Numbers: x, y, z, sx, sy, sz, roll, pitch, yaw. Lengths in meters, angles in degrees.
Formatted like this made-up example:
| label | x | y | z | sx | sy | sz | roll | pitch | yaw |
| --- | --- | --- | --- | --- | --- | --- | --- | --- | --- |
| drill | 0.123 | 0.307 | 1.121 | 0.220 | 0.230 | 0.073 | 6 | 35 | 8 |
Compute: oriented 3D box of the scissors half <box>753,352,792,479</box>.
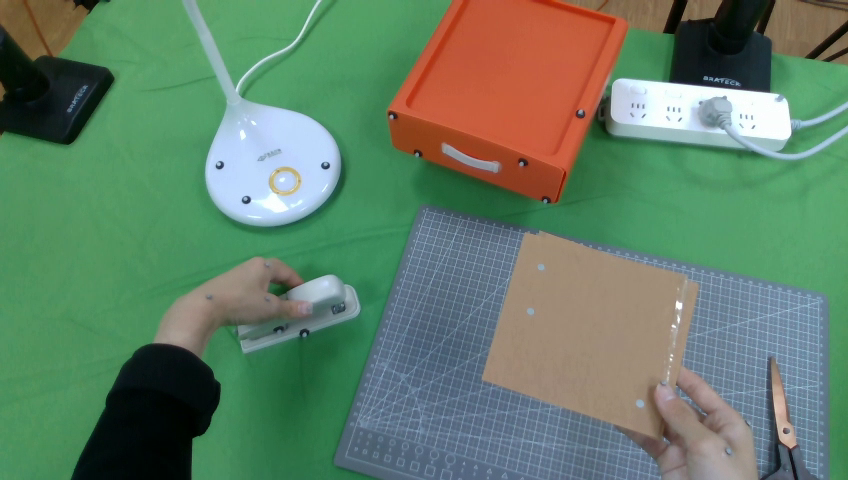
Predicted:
| label | x | y | z | sx | sy | sz | roll | pitch | yaw |
| --- | --- | --- | --- | --- | --- | --- | --- | --- | --- |
| scissors half | 0.328 | 0.187 | 0.572 | 0.040 | 0.013 | 0.174 | 16 | 61 | 0 |

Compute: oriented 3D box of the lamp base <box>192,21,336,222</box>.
| label | x | y | z | sx | sy | sz | roll | pitch | yaw |
| --- | --- | --- | --- | --- | --- | --- | --- | --- | --- |
| lamp base | -0.197 | -0.135 | 0.661 | 0.160 | 0.182 | 0.177 | -38 | 65 | -16 |

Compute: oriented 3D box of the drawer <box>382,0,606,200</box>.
| label | x | y | z | sx | sy | sz | roll | pitch | yaw |
| --- | --- | --- | --- | --- | --- | --- | --- | --- | --- |
| drawer | 0.086 | -0.171 | 0.676 | 0.194 | 0.074 | 0.211 | 21 | 65 | 13 |

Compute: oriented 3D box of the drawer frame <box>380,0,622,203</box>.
| label | x | y | z | sx | sy | sz | roll | pitch | yaw |
| --- | --- | --- | --- | --- | --- | --- | --- | --- | --- |
| drawer frame | 0.088 | -0.176 | 0.681 | 0.201 | 0.083 | 0.212 | 21 | 67 | 12 |

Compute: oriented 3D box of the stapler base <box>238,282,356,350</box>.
| label | x | y | z | sx | sy | sz | roll | pitch | yaw |
| --- | --- | --- | --- | --- | --- | --- | --- | --- | --- |
| stapler base | -0.138 | 0.076 | 0.643 | 0.130 | 0.024 | 0.041 | -18 | 62 | -6 |

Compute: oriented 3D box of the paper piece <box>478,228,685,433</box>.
| label | x | y | z | sx | sy | sz | roll | pitch | yaw |
| --- | --- | --- | --- | --- | --- | --- | --- | --- | --- |
| paper piece | 0.126 | 0.065 | 0.478 | 0.135 | 0.009 | 0.137 | 16 | 67 | 11 |

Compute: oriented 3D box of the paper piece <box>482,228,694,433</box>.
| label | x | y | z | sx | sy | sz | roll | pitch | yaw |
| --- | --- | --- | --- | --- | --- | --- | --- | --- | --- |
| paper piece | 0.134 | 0.066 | 0.491 | 0.134 | 0.004 | 0.135 | 21 | 68 | 19 |

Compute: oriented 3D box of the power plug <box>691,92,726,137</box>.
| label | x | y | z | sx | sy | sz | roll | pitch | yaw |
| --- | --- | --- | --- | --- | --- | --- | --- | --- | --- |
| power plug | 0.326 | -0.139 | 0.701 | 0.035 | 0.053 | 0.072 | 18 | 66 | 10 |

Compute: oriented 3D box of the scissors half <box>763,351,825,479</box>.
| label | x | y | z | sx | sy | sz | roll | pitch | yaw |
| --- | --- | --- | --- | --- | --- | --- | --- | --- | --- |
| scissors half | 0.348 | 0.188 | 0.573 | 0.040 | 0.013 | 0.173 | -2 | 62 | -4 |

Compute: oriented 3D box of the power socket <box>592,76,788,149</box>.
| label | x | y | z | sx | sy | sz | roll | pitch | yaw |
| --- | --- | --- | --- | --- | --- | --- | --- | --- | --- |
| power socket | 0.322 | -0.155 | 0.735 | 0.226 | 0.033 | 0.071 | 8 | 65 | 6 |

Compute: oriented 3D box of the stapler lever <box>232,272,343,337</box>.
| label | x | y | z | sx | sy | sz | roll | pitch | yaw |
| --- | --- | --- | --- | --- | --- | --- | --- | --- | --- |
| stapler lever | -0.141 | 0.065 | 0.619 | 0.118 | 0.040 | 0.026 | -19 | 62 | -5 |
